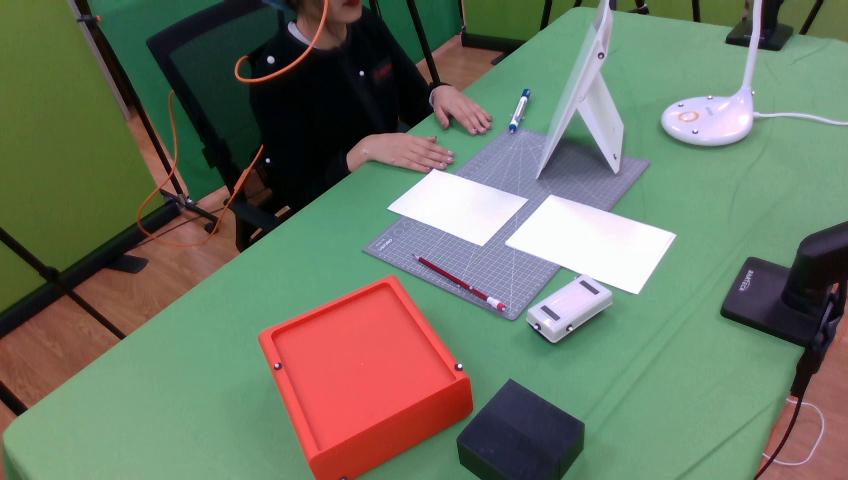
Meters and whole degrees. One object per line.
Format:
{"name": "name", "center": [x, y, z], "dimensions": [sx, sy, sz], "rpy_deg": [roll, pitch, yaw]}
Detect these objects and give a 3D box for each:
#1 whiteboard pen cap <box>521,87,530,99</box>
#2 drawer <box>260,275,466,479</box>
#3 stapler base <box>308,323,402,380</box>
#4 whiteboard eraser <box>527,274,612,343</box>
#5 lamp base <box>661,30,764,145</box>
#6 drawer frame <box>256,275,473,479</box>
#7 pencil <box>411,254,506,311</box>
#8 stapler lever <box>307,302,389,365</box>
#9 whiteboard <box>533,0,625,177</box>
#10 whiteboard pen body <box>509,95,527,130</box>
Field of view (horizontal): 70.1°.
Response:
{"name": "whiteboard pen cap", "center": [0.218, -0.313, 1.301], "dimensions": [0.018, 0.018, 0.033], "rpy_deg": [7, 47, 18]}
{"name": "drawer", "center": [-0.080, 0.163, 0.760], "dimensions": [0.195, 0.073, 0.210], "rpy_deg": [-22, 42, -16]}
{"name": "stapler base", "center": [-0.094, 0.142, 0.812], "dimensions": [0.131, 0.024, 0.041], "rpy_deg": [-24, 29, -17]}
{"name": "whiteboard eraser", "center": [0.198, 0.094, 0.820], "dimensions": [0.113, 0.042, 0.055], "rpy_deg": [-30, 43, -22]}
{"name": "lamp base", "center": [0.535, -0.287, 1.096], "dimensions": [0.179, 0.181, 0.159], "rpy_deg": [-10, 40, -4]}
{"name": "drawer frame", "center": [-0.078, 0.164, 0.756], "dimensions": [0.202, 0.083, 0.211], "rpy_deg": [-23, 43, -17]}
{"name": "pencil", "center": [0.047, 0.060, 0.906], "dimensions": [0.012, 0.012, 0.192], "rpy_deg": [-37, 46, -29]}
{"name": "stapler lever", "center": [-0.101, 0.121, 0.799], "dimensions": [0.118, 0.040, 0.026], "rpy_deg": [-25, 29, -17]}
{"name": "whiteboard", "center": [0.321, -0.258, 1.049], "dimensions": [0.144, 0.306, 0.217], "rpy_deg": [20, 45, 4]}
{"name": "whiteboard pen body", "center": [0.199, -0.273, 1.262], "dimensions": [0.017, 0.017, 0.140], "rpy_deg": [7, 44, 19]}
